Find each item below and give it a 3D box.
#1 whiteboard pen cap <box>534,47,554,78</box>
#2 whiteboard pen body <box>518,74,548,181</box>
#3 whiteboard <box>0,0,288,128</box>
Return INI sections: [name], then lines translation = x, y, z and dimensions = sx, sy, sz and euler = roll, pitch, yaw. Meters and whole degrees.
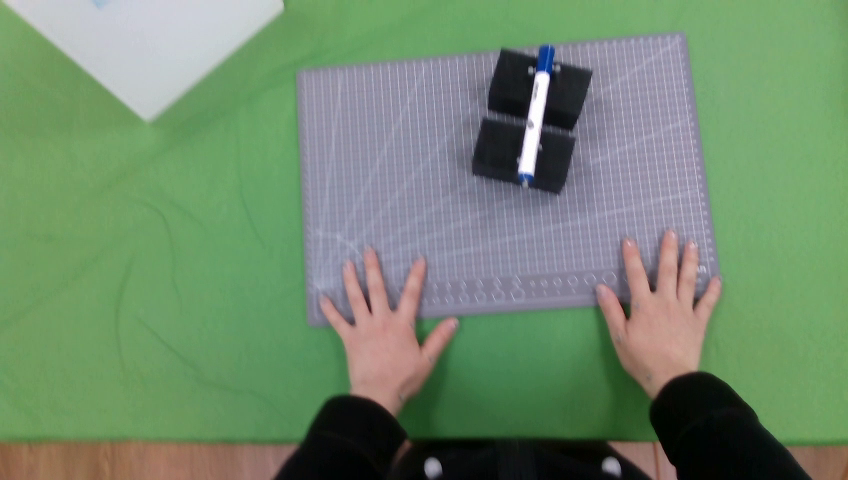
[whiteboard pen cap]
translation = 0.126, -0.185, 0.638
dimensions = 0.018, 0.018, 0.033
euler = 10, 80, 7
[whiteboard pen body]
translation = 0.115, -0.128, 0.628
dimensions = 0.017, 0.017, 0.140
euler = 9, 80, 6
[whiteboard]
translation = -0.330, -0.311, 0.634
dimensions = 0.217, 0.308, 0.142
euler = -40, 60, -2
